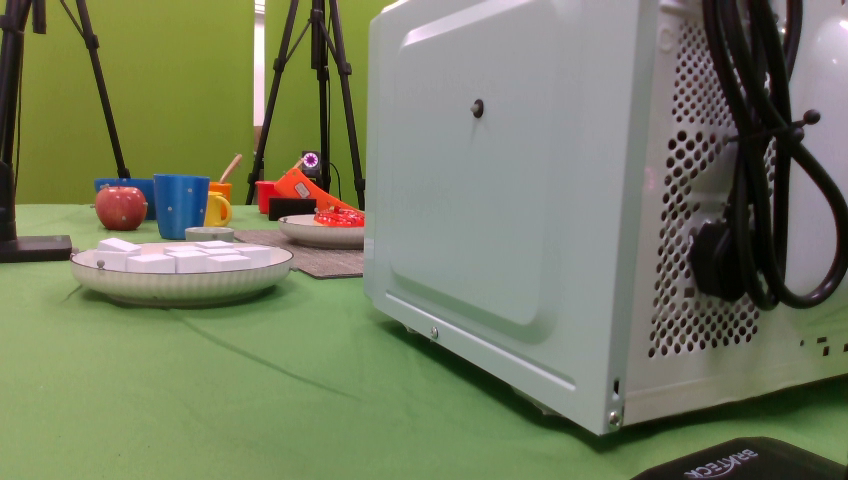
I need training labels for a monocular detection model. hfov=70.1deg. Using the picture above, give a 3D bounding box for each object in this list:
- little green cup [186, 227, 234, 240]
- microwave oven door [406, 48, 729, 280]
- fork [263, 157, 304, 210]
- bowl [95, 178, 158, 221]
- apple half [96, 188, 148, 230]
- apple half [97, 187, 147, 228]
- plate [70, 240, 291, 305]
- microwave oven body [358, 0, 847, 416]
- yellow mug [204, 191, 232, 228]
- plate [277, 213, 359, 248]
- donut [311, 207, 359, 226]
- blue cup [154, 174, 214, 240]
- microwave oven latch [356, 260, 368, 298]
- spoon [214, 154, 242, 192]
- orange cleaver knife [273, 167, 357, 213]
[{"bbox_3d":[-0.285,0.005,0.805,0.061,0.038,0.061,2,8,0],"label":"little green cup"},{"bbox_3d":[0.162,-0.080,0.681,0.357,0.243,0.039,1,8,-7],"label":"microwave oven door"},{"bbox_3d":[-0.345,-0.143,1.505,0.028,0.019,0.207,-4,46,29],"label":"fork"},{"bbox_3d":[-0.576,-0.081,1.217,0.151,0.077,0.151,3,8,0],"label":"bowl"},{"bbox_3d":[-0.517,-0.052,1.036,0.081,0.074,0.053,2,10,-26],"label":"apple half"},{"bbox_3d":[-0.534,-0.059,1.071,0.082,0.081,0.032,-1,11,-25],"label":"apple half"},{"bbox_3d":[-0.242,0.031,0.618,0.208,0.039,0.207,2,8,0],"label":"plate"},{"bbox_3d":[0.210,-0.047,0.475,0.444,0.260,0.324,-1,8,-28],"label":"microwave oven body"},{"bbox_3d":[-0.415,-0.057,1.131,0.130,0.064,0.100,6,7,16],"label":"yellow mug"},{"bbox_3d":[-0.135,-0.017,0.992,0.209,0.038,0.209,2,8,0],"label":"plate"},{"bbox_3d":[-0.137,-0.029,0.995,0.099,0.048,0.099,4,9,0],"label":"donut"},{"bbox_3d":[-0.391,-0.053,0.978,0.093,0.100,0.092,4,6,0],"label":"blue cup"},{"bbox_3d":[-0.020,0.033,0.529,0.079,0.029,0.030,0,7,-24],"label":"microwave oven latch"},{"bbox_3d":[-0.439,-0.124,1.318,0.041,0.193,0.022,5,-36,16],"label":"spoon"},{"bbox_3d":[-0.238,-0.091,1.381,0.212,0.077,0.012,31,0,-19],"label":"orange cleaver knife"}]
